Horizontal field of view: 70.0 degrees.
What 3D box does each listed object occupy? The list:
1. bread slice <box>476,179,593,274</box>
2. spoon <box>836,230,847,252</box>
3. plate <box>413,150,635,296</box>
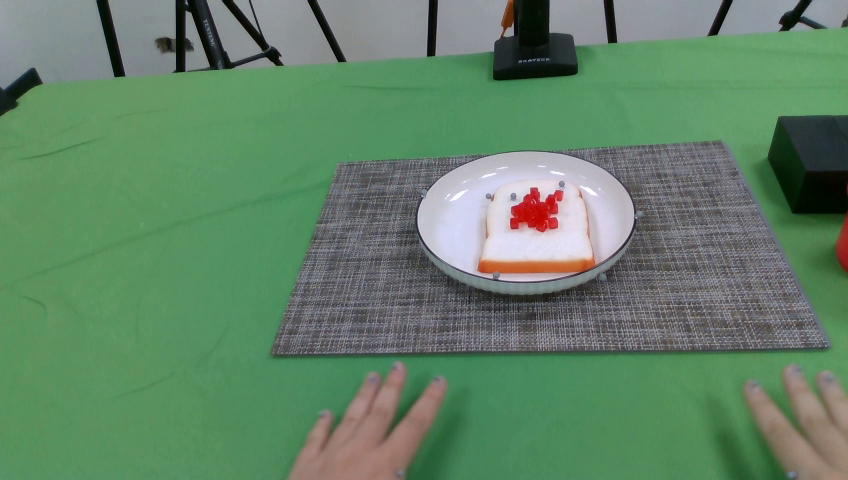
[{"bbox_3d":[0.107,-0.016,0.591,0.105,0.019,0.130,0,42,9],"label":"bread slice"},{"bbox_3d":[0.426,-0.029,0.466,0.022,0.194,0.041,46,48,-8],"label":"spoon"},{"bbox_3d":[0.094,-0.017,0.591,0.209,0.038,0.207,-5,40,5],"label":"plate"}]
